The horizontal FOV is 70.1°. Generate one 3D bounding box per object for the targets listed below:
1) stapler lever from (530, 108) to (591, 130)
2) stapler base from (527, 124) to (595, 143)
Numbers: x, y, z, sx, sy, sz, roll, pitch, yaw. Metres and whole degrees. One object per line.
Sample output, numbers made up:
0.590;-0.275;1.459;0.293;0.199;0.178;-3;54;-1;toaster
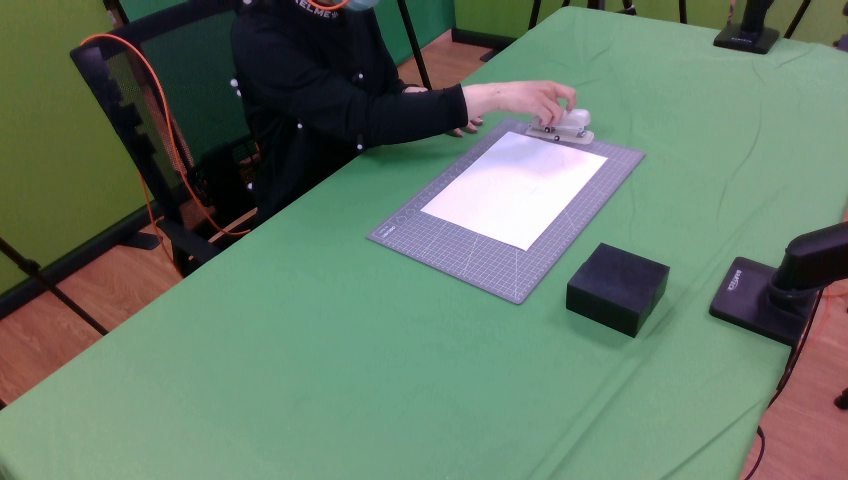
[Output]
0.262;-0.237;1.163;0.117;0.040;0.027;14;43;26;stapler lever
0.267;-0.217;1.179;0.129;0.024;0.041;15;43;26;stapler base
